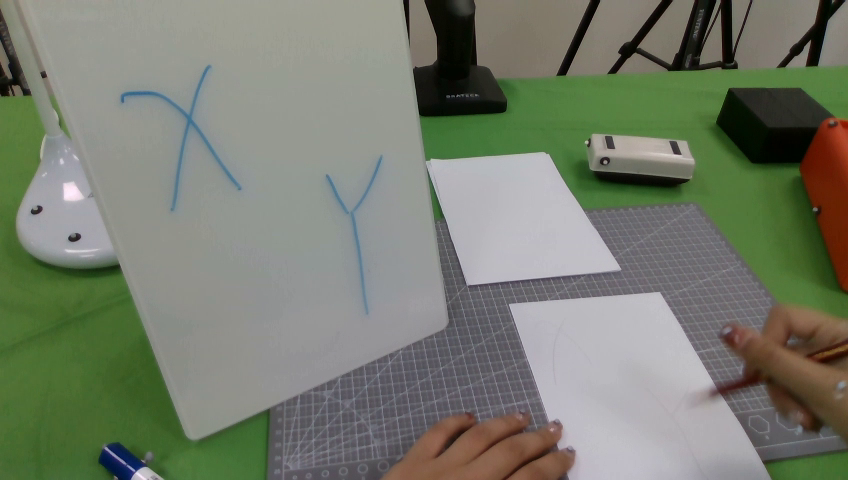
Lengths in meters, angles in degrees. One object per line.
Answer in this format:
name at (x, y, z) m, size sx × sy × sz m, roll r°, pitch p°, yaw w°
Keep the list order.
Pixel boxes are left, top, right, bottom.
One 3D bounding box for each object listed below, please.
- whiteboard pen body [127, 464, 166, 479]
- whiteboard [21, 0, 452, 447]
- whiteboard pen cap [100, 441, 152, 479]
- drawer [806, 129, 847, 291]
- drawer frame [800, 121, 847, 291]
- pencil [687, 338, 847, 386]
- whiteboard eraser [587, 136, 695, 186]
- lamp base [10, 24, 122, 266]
whiteboard pen body at (-0.148, 0.170, 0.379) m, size 0.140 × 0.017 × 0.017 m, roll 23°, pitch 44°, yaw 22°
whiteboard at (-0.122, -0.047, 0.459) m, size 0.218 × 0.307 × 0.142 m, roll -20°, pitch 26°, yaw -24°
whiteboard pen cap at (-0.197, 0.148, 0.402) m, size 0.033 × 0.018 × 0.018 m, roll 22°, pitch 44°, yaw 24°
drawer at (0.512, -0.020, 0.601) m, size 0.194 × 0.074 × 0.210 m, roll 12°, pitch 41°, yaw 11°
drawer frame at (0.512, -0.023, 0.604) m, size 0.201 × 0.083 × 0.212 m, roll 11°, pitch 40°, yaw 10°
pencil at (0.248, 0.063, 0.360) m, size 0.012 × 0.194 × 0.012 m, roll 25°, pitch 51°, yaw -35°
whiteboard eraser at (0.247, -0.090, 0.696) m, size 0.112 × 0.042 × 0.055 m, roll 6°, pitch 42°, yaw 3°
lamp base at (-0.315, -0.093, 0.551) m, size 0.178 × 0.182 × 0.160 m, roll 22°, pitch 44°, yaw 24°
